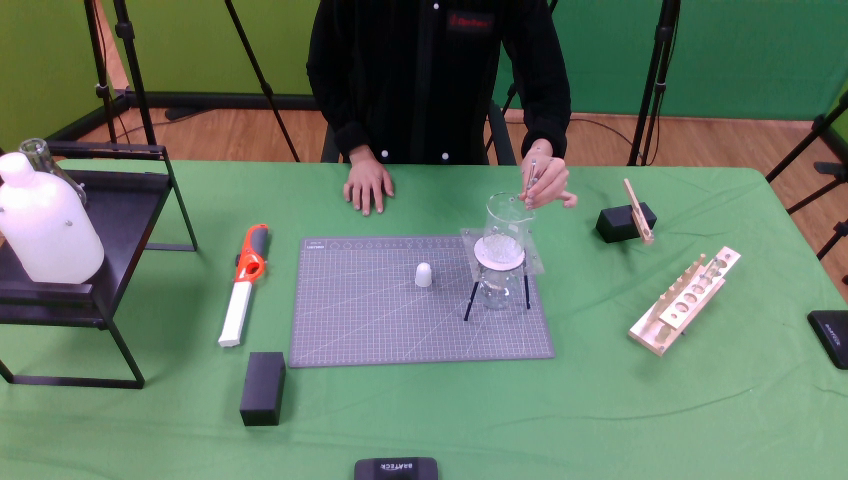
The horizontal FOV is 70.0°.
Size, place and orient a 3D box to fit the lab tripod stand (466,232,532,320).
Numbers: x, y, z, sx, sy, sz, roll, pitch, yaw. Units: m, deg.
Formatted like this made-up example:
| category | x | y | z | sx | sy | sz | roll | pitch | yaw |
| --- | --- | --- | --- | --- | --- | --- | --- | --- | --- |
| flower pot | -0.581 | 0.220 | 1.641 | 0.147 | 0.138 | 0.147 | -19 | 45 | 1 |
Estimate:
| category | x | y | z | sx | sy | sz | roll | pitch | yaw |
| --- | --- | --- | --- | --- | --- | --- | --- | --- | --- |
| lab tripod stand | 0.125 | 0.060 | 1.065 | 0.148 | 0.132 | 0.147 | 1 | 45 | 0 |

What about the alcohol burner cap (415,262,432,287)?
| category | x | y | z | sx | sy | sz | roll | pitch | yaw |
| --- | --- | --- | --- | --- | --- | --- | --- | --- | --- |
| alcohol burner cap | 0.000 | 0.061 | 1.119 | 0.034 | 0.048 | 0.033 | 2 | 45 | -2 |

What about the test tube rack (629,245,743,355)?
| category | x | y | z | sx | sy | sz | roll | pitch | yaw |
| --- | --- | --- | --- | --- | --- | --- | --- | --- | --- |
| test tube rack | 0.474 | 0.095 | 1.091 | 0.242 | 0.085 | 0.066 | -34 | 56 | -31 |

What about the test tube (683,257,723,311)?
| category | x | y | z | sx | sy | sz | roll | pitch | yaw |
| --- | --- | --- | --- | --- | --- | --- | --- | --- | --- |
| test tube | 0.475 | 0.080 | 1.037 | 0.017 | 0.151 | 0.017 | 1 | 51 | -1 |

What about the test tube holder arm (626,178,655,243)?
| category | x | y | z | sx | sy | sz | roll | pitch | yaw |
| --- | --- | --- | --- | --- | --- | --- | --- | --- | --- |
| test tube holder arm | 0.434 | -0.063 | 1.220 | 0.013 | 0.015 | 0.177 | 3 | 47 | -4 |

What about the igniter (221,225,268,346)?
| category | x | y | z | sx | sy | sz | roll | pitch | yaw |
| --- | --- | --- | --- | --- | --- | --- | --- | --- | --- |
| igniter | -0.323 | 0.072 | 1.100 | 0.057 | 0.025 | 0.274 | -6 | 45 | 5 |

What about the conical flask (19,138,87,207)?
| category | x | y | z | sx | sy | sz | roll | pitch | yaw |
| --- | --- | --- | --- | --- | --- | --- | --- | --- | --- |
| conical flask | -0.576 | -0.097 | 0.930 | 0.075 | 0.122 | 0.075 | 2 | 46 | -2 |

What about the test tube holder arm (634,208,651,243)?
| category | x | y | z | sx | sy | sz | roll | pitch | yaw |
| --- | --- | --- | --- | --- | --- | --- | --- | --- | --- |
| test tube holder arm | 0.428 | -0.030 | 1.189 | 0.010 | 0.015 | 0.087 | 3 | 47 | -3 |

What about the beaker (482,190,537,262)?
| category | x | y | z | sx | sy | sz | roll | pitch | yaw |
| --- | --- | --- | --- | --- | --- | --- | --- | --- | --- |
| beaker | 0.136 | -0.019 | 0.983 | 0.084 | 0.101 | 0.073 | 17 | 47 | 14 |

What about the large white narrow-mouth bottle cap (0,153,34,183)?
| category | x | y | z | sx | sy | sz | roll | pitch | yaw |
| --- | --- | --- | --- | --- | --- | --- | --- | --- | --- |
| large white narrow-mouth bottle cap | -0.510 | -0.090 | 0.754 | 0.038 | 0.024 | 0.037 | 2 | 46 | -2 |

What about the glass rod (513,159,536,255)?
| category | x | y | z | sx | sy | sz | roll | pitch | yaw |
| --- | --- | --- | --- | --- | --- | --- | --- | --- | --- |
| glass rod | 0.154 | -0.045 | 0.934 | 0.008 | 0.201 | 0.008 | 1 | 46 | -1 |

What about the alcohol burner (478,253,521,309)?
| category | x | y | z | sx | sy | sz | roll | pitch | yaw |
| --- | --- | --- | --- | --- | --- | --- | --- | --- | --- |
| alcohol burner | 0.134 | 0.067 | 1.072 | 0.078 | 0.120 | 0.077 | 0 | 47 | 0 |

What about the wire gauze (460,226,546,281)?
| category | x | y | z | sx | sy | sz | roll | pitch | yaw |
| --- | --- | --- | --- | --- | --- | --- | --- | --- | --- |
| wire gauze | 0.130 | 0.017 | 1.016 | 0.121 | 0.011 | 0.124 | -3 | 43 | -9 |

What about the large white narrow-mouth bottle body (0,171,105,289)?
| category | x | y | z | sx | sy | sz | roll | pitch | yaw |
| --- | --- | --- | --- | --- | --- | --- | --- | --- | --- |
| large white narrow-mouth bottle body | -0.513 | -0.029 | 0.818 | 0.102 | 0.195 | 0.101 | 2 | 46 | -2 |
